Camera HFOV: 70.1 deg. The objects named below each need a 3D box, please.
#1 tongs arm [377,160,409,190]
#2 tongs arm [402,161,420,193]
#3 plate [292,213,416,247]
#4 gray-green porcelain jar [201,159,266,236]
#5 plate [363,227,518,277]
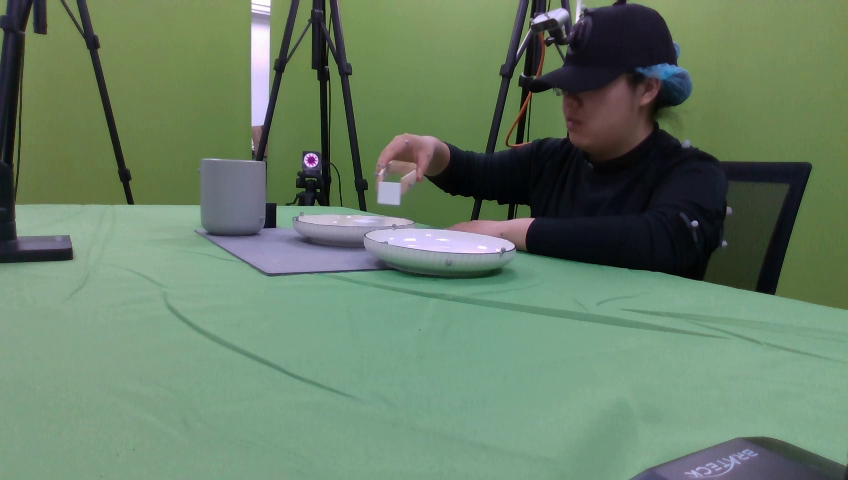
[{"bbox_3d":[-0.049,-0.117,1.058,0.051,0.026,0.384,5,11,-3],"label":"tongs arm"},{"bbox_3d":[-0.025,-0.114,1.058,0.028,0.028,0.387,3,10,1],"label":"tongs arm"},{"bbox_3d":[-0.118,-0.017,1.024,0.208,0.039,0.207,3,8,0],"label":"plate"},{"bbox_3d":[-0.326,-0.073,1.036,0.106,0.126,0.106,3,8,0],"label":"gray-green porcelain jar"},{"bbox_3d":[0.021,0.016,0.817,0.209,0.038,0.209,4,9,0],"label":"plate"}]
